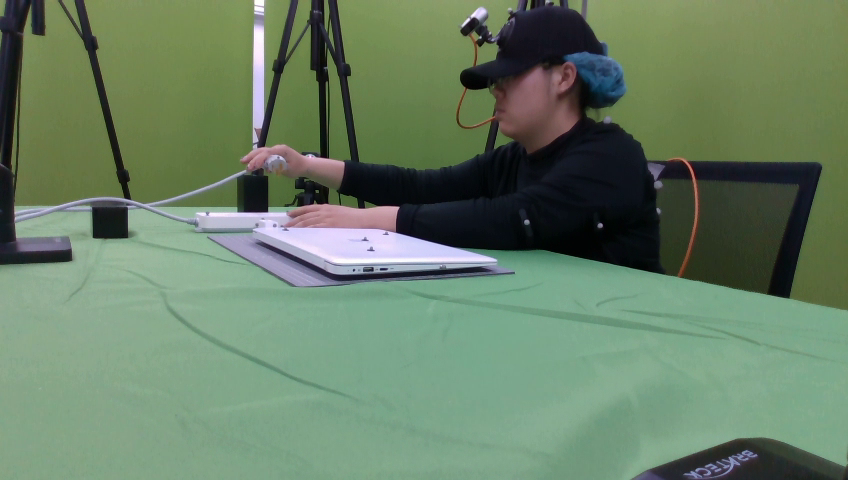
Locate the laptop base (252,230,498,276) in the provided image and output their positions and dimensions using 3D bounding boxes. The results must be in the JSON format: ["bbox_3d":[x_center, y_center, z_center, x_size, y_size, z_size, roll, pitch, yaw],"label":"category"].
[{"bbox_3d":[-0.089,0.016,0.876,0.237,0.023,0.352,2,6,-32],"label":"laptop base"}]

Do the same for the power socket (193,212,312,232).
[{"bbox_3d":[-0.322,-0.036,1.151,0.228,0.032,0.072,-2,7,-34],"label":"power socket"}]

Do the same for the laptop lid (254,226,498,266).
[{"bbox_3d":[-0.086,0.005,0.876,0.243,0.013,0.355,1,7,-30],"label":"laptop lid"}]

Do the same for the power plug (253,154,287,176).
[{"bbox_3d":[-0.309,-0.143,1.224,0.072,0.052,0.035,-37,-42,23],"label":"power plug"}]

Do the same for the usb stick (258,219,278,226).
[{"bbox_3d":[-0.255,-0.019,0.996,0.021,0.027,0.059,-2,12,-29],"label":"usb stick"}]
